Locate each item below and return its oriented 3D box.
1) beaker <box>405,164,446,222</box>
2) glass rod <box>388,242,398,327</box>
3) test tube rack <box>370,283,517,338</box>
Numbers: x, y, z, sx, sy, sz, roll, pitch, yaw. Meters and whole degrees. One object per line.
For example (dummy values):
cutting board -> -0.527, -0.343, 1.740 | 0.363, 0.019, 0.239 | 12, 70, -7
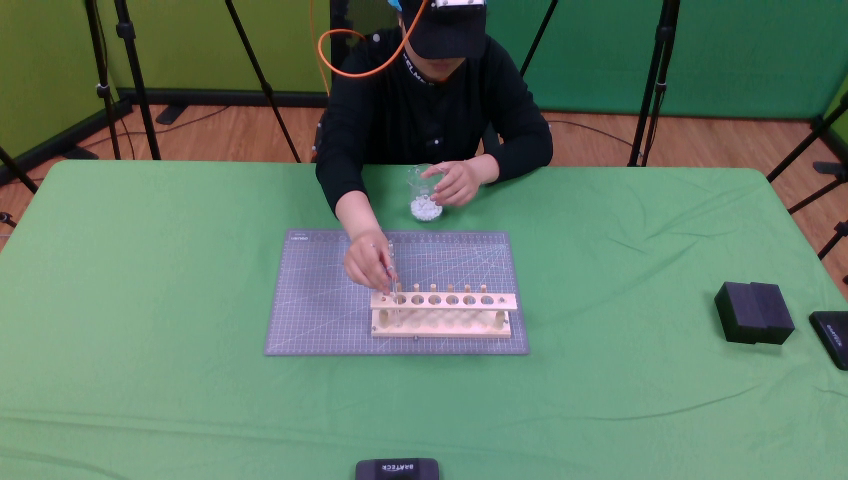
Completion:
beaker -> 0.005, -0.094, 1.226 | 0.084, 0.101, 0.073 | -16, 49, -12
glass rod -> -0.050, 0.077, 0.980 | 0.008, 0.201, 0.008 | 0, 44, 1
test tube rack -> 0.030, 0.117, 1.041 | 0.242, 0.085, 0.066 | 1, 46, -3
